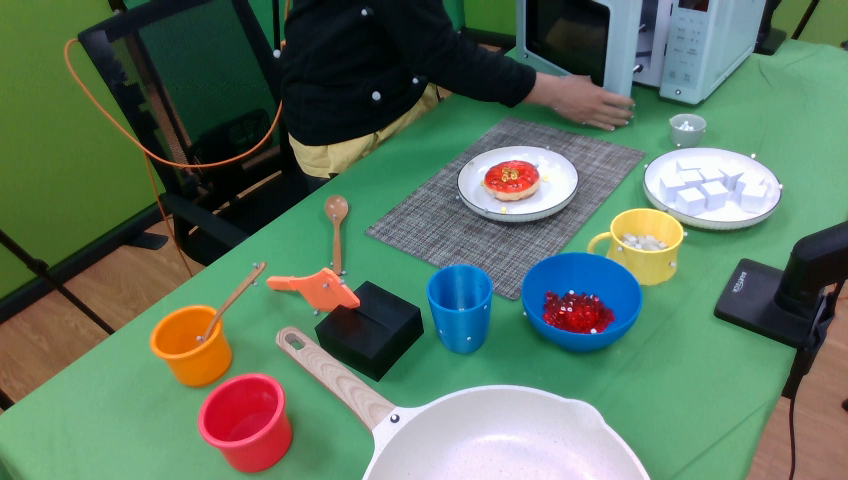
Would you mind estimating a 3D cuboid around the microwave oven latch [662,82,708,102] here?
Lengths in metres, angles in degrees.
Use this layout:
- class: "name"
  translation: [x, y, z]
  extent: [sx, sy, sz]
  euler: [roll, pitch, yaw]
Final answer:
- class: "microwave oven latch"
  translation: [0.518, -0.298, 1.202]
  extent: [0.078, 0.029, 0.030]
  euler: [28, 53, 35]

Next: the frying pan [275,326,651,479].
- class: "frying pan"
  translation: [0.004, 0.229, 0.641]
  extent: [0.484, 0.103, 0.308]
  euler: [34, 54, 28]

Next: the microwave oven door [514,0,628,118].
- class: "microwave oven door"
  translation: [0.295, -0.429, 1.230]
  extent: [0.039, 0.245, 0.352]
  euler: [-22, 43, -17]

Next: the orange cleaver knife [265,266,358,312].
- class: "orange cleaver knife"
  translation: [-0.165, 0.073, 0.864]
  extent: [0.210, 0.077, 0.012]
  euler: [-6, 31, 50]

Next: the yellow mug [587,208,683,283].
- class: "yellow mug"
  translation: [0.305, 0.009, 0.884]
  extent: [0.131, 0.064, 0.099]
  euler: [-4, 41, 5]

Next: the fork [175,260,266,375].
- class: "fork"
  translation: [-0.268, 0.103, 0.792]
  extent: [0.207, 0.019, 0.028]
  euler: [-51, 41, 16]

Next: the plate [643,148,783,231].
- class: "plate"
  translation: [0.464, -0.080, 0.986]
  extent: [0.207, 0.039, 0.206]
  euler: [-4, 41, 4]

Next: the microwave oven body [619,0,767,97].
- class: "microwave oven body"
  translation: [0.473, -0.516, 1.313]
  extent: [0.438, 0.261, 0.327]
  euler: [26, 51, 34]

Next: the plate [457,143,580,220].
- class: "plate"
  translation: [0.162, -0.097, 1.042]
  extent: [0.209, 0.038, 0.208]
  euler: [-4, 40, 4]

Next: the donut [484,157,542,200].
- class: "donut"
  translation: [0.153, -0.108, 1.039]
  extent: [0.099, 0.048, 0.098]
  euler: [-5, 37, 5]

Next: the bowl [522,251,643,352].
- class: "bowl"
  translation: [0.204, 0.093, 0.792]
  extent: [0.151, 0.077, 0.150]
  euler: [-4, 40, 4]

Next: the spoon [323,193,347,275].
- class: "spoon"
  translation: [-0.148, -0.014, 1.008]
  extent: [0.042, 0.021, 0.192]
  euler: [4, 39, -12]

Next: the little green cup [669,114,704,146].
- class: "little green cup"
  translation: [0.485, -0.203, 1.123]
  extent: [0.061, 0.039, 0.061]
  euler: [-5, 39, 5]

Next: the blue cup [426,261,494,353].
- class: "blue cup"
  translation: [0.049, 0.095, 0.792]
  extent: [0.092, 0.100, 0.092]
  euler: [-3, 42, 3]
